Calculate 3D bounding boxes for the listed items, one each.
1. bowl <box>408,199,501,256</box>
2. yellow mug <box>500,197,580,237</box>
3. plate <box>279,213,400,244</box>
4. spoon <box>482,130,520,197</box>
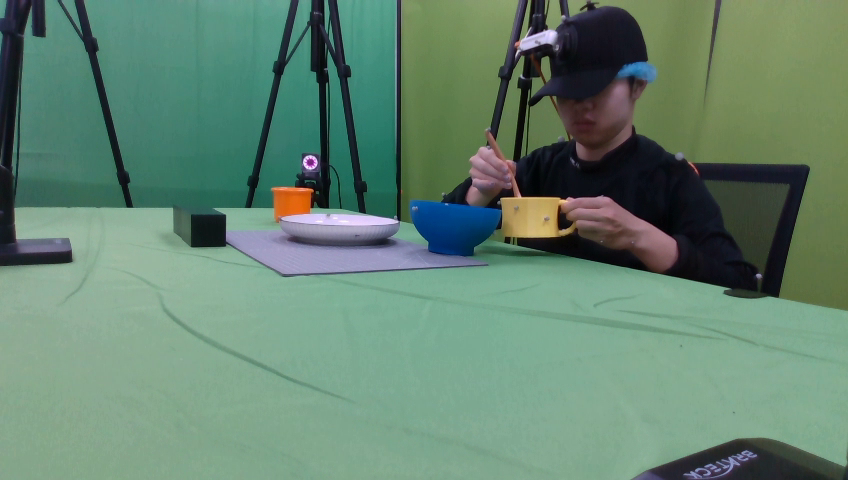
[{"bbox_3d":[0.045,-0.019,0.967,0.151,0.077,0.151,6,5,0],"label":"bowl"},{"bbox_3d":[0.191,-0.039,1.002,0.130,0.064,0.100,1,4,14],"label":"yellow mug"},{"bbox_3d":[-0.147,-0.020,1.060,0.209,0.038,0.209,3,7,0],"label":"plate"},{"bbox_3d":[0.142,-0.097,1.007,0.022,0.193,0.041,-22,-4,-14],"label":"spoon"}]
